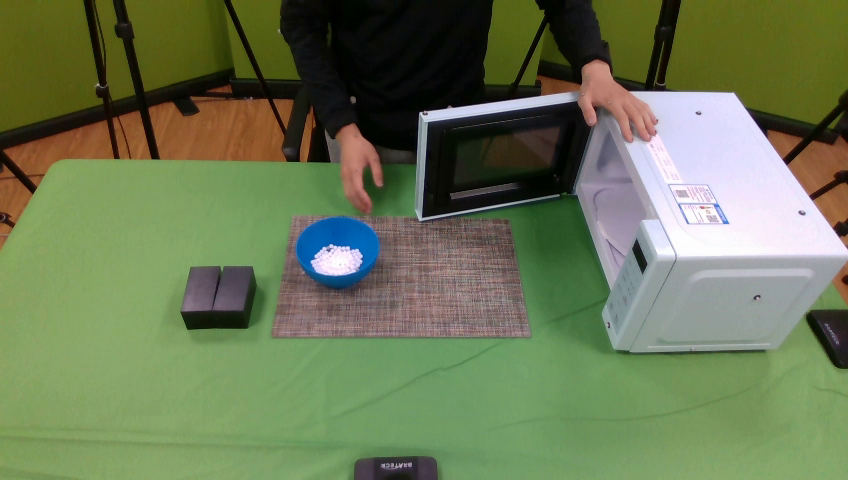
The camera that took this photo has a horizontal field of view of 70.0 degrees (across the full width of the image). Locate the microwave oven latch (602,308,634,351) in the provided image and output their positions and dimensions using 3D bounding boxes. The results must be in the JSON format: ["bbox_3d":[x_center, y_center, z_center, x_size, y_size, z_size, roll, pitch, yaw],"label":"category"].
[{"bbox_3d":[0.332,0.153,1.044,0.030,0.029,0.078,-1,45,-4],"label":"microwave oven latch"}]

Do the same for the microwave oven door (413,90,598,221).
[{"bbox_3d":[0.156,-0.165,1.198,0.356,0.245,0.039,-11,47,-14],"label":"microwave oven door"}]

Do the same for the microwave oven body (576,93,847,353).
[{"bbox_3d":[0.475,-0.041,1.109,0.326,0.261,0.438,-1,45,-4],"label":"microwave oven body"}]

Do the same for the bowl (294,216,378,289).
[{"bbox_3d":[-0.158,0.036,1.110,0.151,0.077,0.150,3,45,-2],"label":"bowl"}]
